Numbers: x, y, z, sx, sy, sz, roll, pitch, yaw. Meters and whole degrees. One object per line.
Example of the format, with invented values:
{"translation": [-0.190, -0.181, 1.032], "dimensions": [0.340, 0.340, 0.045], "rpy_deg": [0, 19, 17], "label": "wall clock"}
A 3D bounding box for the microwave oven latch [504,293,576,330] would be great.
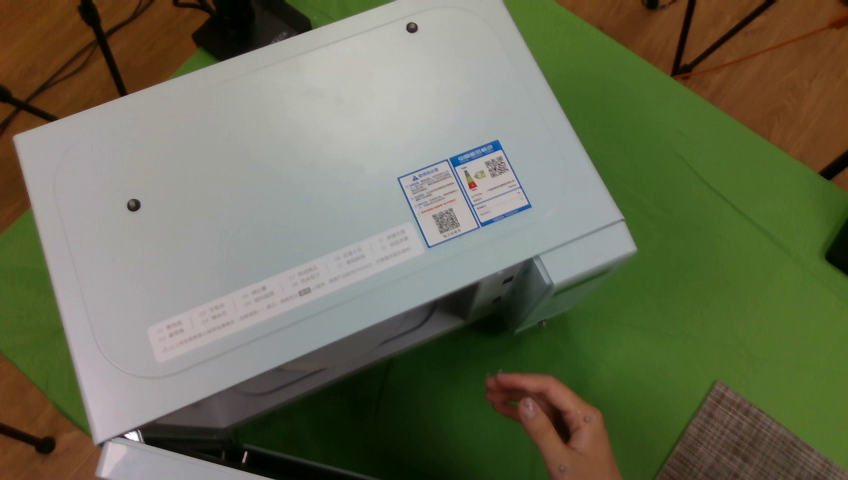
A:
{"translation": [0.133, 0.074, 0.689], "dimensions": [0.079, 0.029, 0.030], "rpy_deg": [-21, 74, -7], "label": "microwave oven latch"}

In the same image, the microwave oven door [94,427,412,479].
{"translation": [-0.060, 0.227, 0.530], "dimensions": [0.355, 0.245, 0.039], "rpy_deg": [13, 73, 3], "label": "microwave oven door"}

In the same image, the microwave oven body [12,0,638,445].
{"translation": [-0.089, -0.017, 0.612], "dimensions": [0.442, 0.261, 0.324], "rpy_deg": [-23, 74, -7], "label": "microwave oven body"}
